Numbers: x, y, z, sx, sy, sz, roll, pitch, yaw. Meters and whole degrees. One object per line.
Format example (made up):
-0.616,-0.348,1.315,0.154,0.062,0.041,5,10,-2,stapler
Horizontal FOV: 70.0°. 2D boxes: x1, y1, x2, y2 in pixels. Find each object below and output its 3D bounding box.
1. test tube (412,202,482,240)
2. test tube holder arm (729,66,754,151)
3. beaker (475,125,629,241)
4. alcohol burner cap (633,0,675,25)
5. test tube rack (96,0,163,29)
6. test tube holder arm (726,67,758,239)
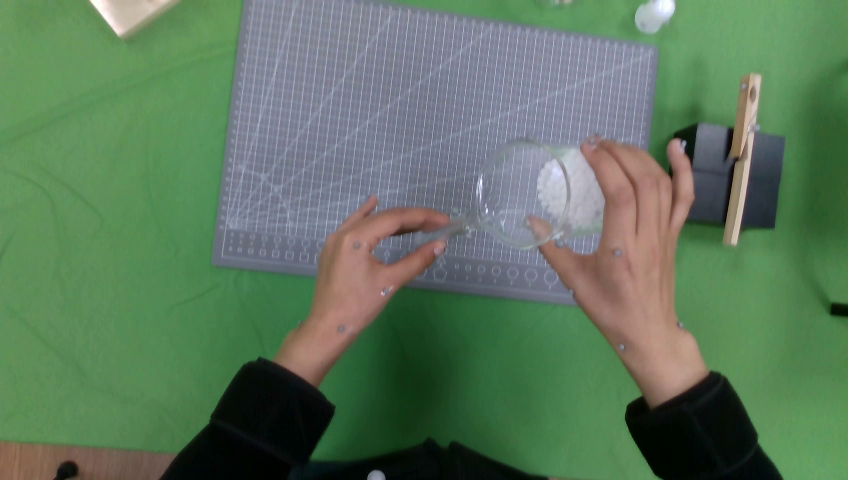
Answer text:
0.015,-0.014,0.505,0.017,0.150,0.017,1,85,-16,test tube
0.328,-0.135,0.626,0.010,0.015,0.088,6,90,-11,test tube holder arm
0.094,-0.039,0.437,0.101,0.084,0.073,-8,73,-47,beaker
0.251,-0.256,0.654,0.034,0.048,0.034,0,89,-6,alcohol burner cap
-0.228,-0.313,0.579,0.242,0.085,0.067,-38,93,-5,test tube rack
0.329,-0.089,0.628,0.013,0.015,0.178,4,91,-12,test tube holder arm
